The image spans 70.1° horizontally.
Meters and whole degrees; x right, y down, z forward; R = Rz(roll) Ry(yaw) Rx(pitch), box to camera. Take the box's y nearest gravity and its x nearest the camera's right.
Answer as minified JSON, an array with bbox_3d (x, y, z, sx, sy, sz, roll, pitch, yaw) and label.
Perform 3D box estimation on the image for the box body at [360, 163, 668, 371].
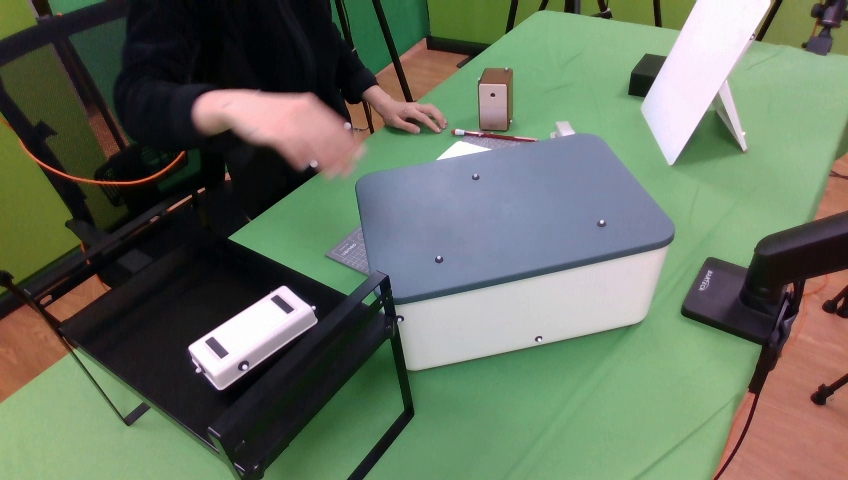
[{"bbox_3d":[0.108,0.014,0.833,0.365,0.161,0.252,-11,41,-5],"label":"box body"}]

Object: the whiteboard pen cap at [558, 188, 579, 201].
[{"bbox_3d":[0.245,-0.077,1.028,0.033,0.018,0.018,-18,42,-15],"label":"whiteboard pen cap"}]

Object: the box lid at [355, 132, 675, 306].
[{"bbox_3d":[0.103,-0.042,0.785,0.372,0.015,0.261,-12,41,-5],"label":"box lid"}]

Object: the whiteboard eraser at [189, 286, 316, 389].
[{"bbox_3d":[-0.166,0.096,0.593,0.113,0.042,0.055,-36,47,-29],"label":"whiteboard eraser"}]

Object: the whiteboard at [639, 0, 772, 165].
[{"bbox_3d":[0.543,-0.298,1.076,0.144,0.305,0.216,12,40,-7],"label":"whiteboard"}]

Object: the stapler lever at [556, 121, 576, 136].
[{"bbox_3d":[0.266,-0.198,1.128,0.027,0.040,0.117,0,38,3],"label":"stapler lever"}]

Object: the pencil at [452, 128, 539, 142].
[{"bbox_3d":[0.147,-0.207,1.205,0.193,0.012,0.012,10,43,19],"label":"pencil"}]

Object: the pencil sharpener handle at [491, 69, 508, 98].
[{"bbox_3d":[0.155,-0.329,1.254,0.036,0.068,0.030,17,43,3],"label":"pencil sharpener handle"}]

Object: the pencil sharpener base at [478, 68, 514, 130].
[{"bbox_3d":[0.148,-0.286,1.224,0.061,0.107,0.076,5,41,15],"label":"pencil sharpener base"}]

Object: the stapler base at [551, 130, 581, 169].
[{"bbox_3d":[0.268,-0.178,1.142,0.041,0.024,0.130,0,37,3],"label":"stapler base"}]

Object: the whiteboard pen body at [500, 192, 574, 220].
[{"bbox_3d":[0.191,-0.059,1.011,0.141,0.017,0.017,-18,41,-16],"label":"whiteboard pen body"}]
